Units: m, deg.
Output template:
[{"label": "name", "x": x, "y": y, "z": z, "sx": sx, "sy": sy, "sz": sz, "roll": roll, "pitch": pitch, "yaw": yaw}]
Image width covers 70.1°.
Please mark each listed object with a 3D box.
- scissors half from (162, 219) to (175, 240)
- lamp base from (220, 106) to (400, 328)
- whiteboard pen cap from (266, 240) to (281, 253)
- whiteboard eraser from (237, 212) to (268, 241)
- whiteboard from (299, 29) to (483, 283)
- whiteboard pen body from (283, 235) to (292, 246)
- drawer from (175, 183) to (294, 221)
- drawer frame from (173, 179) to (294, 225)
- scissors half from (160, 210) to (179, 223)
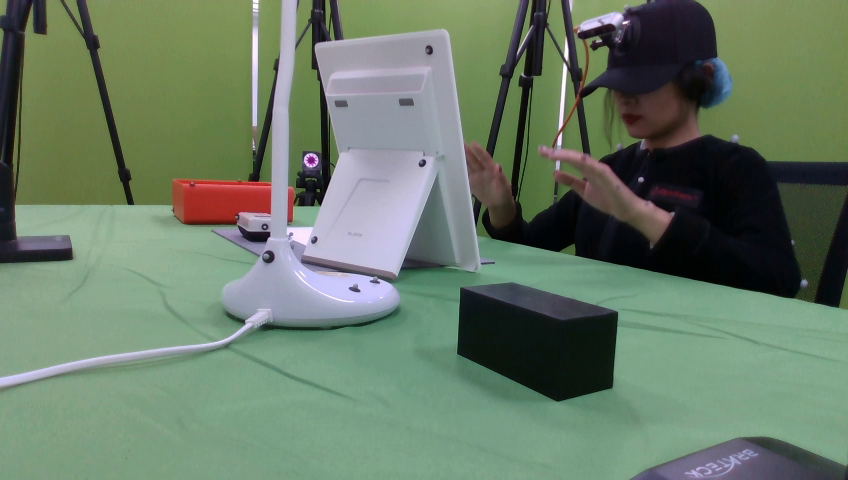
[{"label": "scissors half", "x": -0.507, "y": -0.055, "z": 1.262, "sx": 0.013, "sy": 0.040, "sz": 0.175, "roll": 10, "pitch": 39, "yaw": 2}, {"label": "lamp base", "x": -0.101, "y": -0.023, "z": 0.531, "sx": 0.160, "sy": 0.180, "sz": 0.179, "roll": 4, "pitch": 10, "yaw": 10}, {"label": "whiteboard pen cap", "x": -0.202, "y": 0.009, "z": 0.813, "sx": 0.018, "sy": 0.018, "sz": 0.033, "roll": 1, "pitch": 3, "yaw": -8}, {"label": "whiteboard eraser", "x": -0.272, "y": -0.023, "z": 0.998, "sx": 0.056, "sy": 0.042, "sz": 0.112, "roll": -3, "pitch": 9, "yaw": -26}, {"label": "whiteboard", "x": -0.074, "y": -0.082, "z": 0.742, "sx": 0.216, "sy": 0.305, "sz": 0.144, "roll": 9, "pitch": 29, "yaw": 38}, {"label": "whiteboard pen body", "x": -0.206, "y": 0.005, "z": 0.872, "sx": 0.017, "sy": 0.017, "sz": 0.140, "roll": 2, "pitch": 4, "yaw": -6}, {"label": "drawer", "x": -0.402, "y": -0.082, "z": 1.279, "sx": 0.213, "sy": 0.073, "sz": 0.193, "roll": -2, "pitch": 10, "yaw": -28}, {"label": "drawer frame", "x": -0.404, "y": -0.083, "z": 1.277, "sx": 0.215, "sy": 0.082, "sz": 0.200, "roll": -2, "pitch": 9, "yaw": -29}, {"label": "scissors half", "x": -0.507, "y": -0.066, "z": 1.256, "sx": 0.013, "sy": 0.040, "sz": 0.175, "roll": 3, "pitch": 22, "yaw": 4}]
